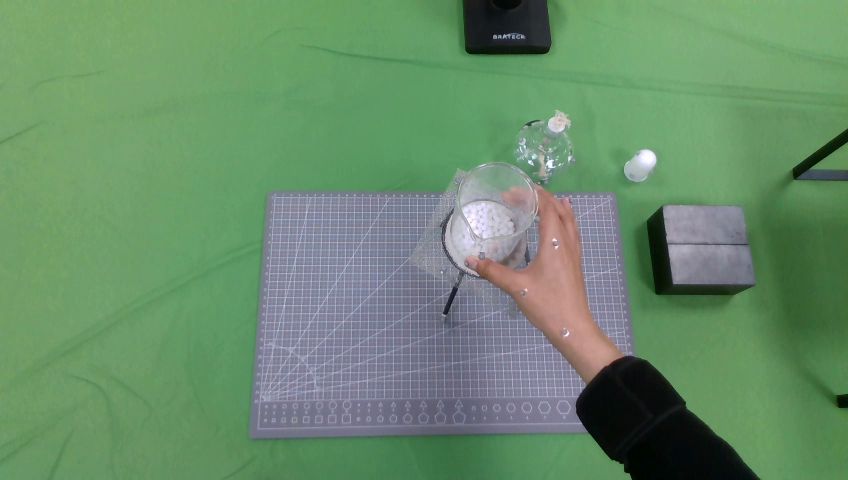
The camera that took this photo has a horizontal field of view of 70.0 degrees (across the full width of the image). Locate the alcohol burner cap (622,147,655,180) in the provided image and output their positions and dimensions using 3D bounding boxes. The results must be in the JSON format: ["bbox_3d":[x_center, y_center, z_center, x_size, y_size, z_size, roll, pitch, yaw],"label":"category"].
[{"bbox_3d":[0.281,-0.101,0.787,0.034,0.048,0.033,0,71,-1],"label":"alcohol burner cap"}]

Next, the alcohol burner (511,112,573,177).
[{"bbox_3d":[0.150,-0.125,0.750,0.078,0.119,0.077,1,72,-4],"label":"alcohol burner"}]

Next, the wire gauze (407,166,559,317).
[{"bbox_3d":[0.062,-0.002,0.623,0.125,0.011,0.121,28,74,3],"label":"wire gauze"}]

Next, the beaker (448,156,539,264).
[{"bbox_3d":[0.060,-0.021,0.578,0.074,0.101,0.083,24,72,5],"label":"beaker"}]

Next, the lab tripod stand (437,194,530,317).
[{"bbox_3d":[0.061,0.012,0.687,0.148,0.132,0.147,1,70,-3],"label":"lab tripod stand"}]
